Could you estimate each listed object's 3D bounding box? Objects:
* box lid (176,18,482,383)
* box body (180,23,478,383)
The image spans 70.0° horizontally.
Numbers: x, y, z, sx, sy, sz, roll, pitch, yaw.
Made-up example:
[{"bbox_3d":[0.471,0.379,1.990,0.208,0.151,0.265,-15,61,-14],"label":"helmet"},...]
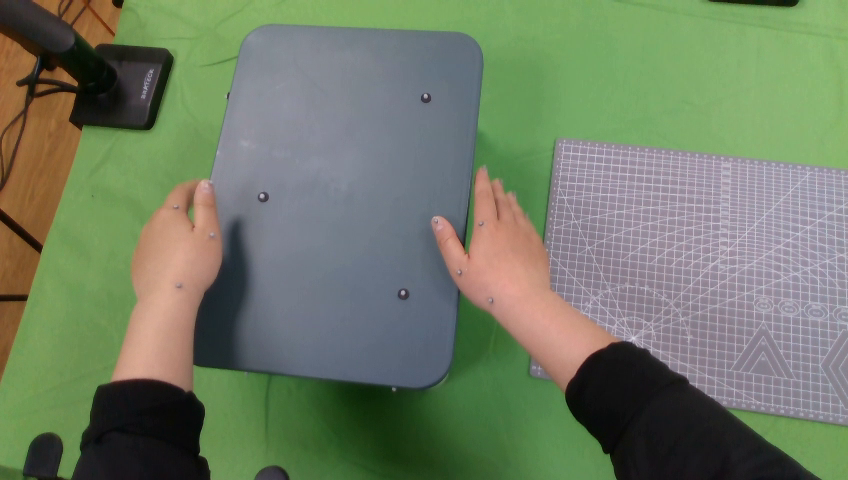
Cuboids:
[{"bbox_3d":[-0.085,-0.057,0.599,0.263,0.015,0.369,4,75,6],"label":"box lid"},{"bbox_3d":[-0.080,-0.033,0.669,0.254,0.161,0.362,5,74,6],"label":"box body"}]
